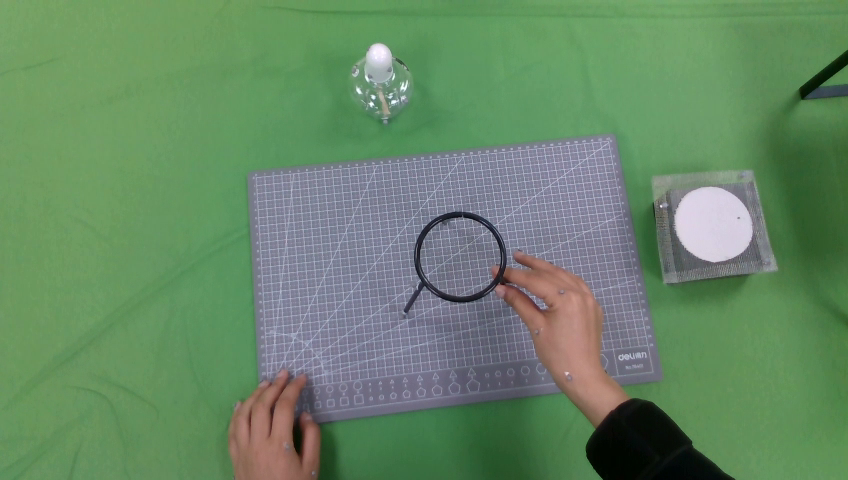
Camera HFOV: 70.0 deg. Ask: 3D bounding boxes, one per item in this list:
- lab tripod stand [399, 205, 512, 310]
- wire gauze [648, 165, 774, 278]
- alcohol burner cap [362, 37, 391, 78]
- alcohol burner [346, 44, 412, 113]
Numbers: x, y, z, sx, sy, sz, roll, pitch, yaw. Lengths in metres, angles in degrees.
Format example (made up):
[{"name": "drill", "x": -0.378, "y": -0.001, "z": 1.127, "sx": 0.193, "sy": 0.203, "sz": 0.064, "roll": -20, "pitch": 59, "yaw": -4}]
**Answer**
[{"name": "lab tripod stand", "x": 0.035, "y": 0.024, "z": 0.640, "sx": 0.148, "sy": 0.132, "sz": 0.147, "roll": 1, "pitch": 76, "yaw": -3}, {"name": "wire gauze", "x": 0.316, "y": -0.023, "z": 0.673, "sx": 0.121, "sy": 0.011, "sz": 0.124, "roll": -4, "pitch": 77, "yaw": 0}, {"name": "alcohol burner cap", "x": -0.052, "y": -0.202, "z": 0.663, "sx": 0.034, "sy": 0.048, "sz": 0.034, "roll": 1, "pitch": 82, "yaw": -5}, {"name": "alcohol burner", "x": -0.052, "y": -0.195, "z": 0.697, "sx": 0.078, "sy": 0.119, "sz": 0.077, "roll": 1, "pitch": 78, "yaw": -3}]
